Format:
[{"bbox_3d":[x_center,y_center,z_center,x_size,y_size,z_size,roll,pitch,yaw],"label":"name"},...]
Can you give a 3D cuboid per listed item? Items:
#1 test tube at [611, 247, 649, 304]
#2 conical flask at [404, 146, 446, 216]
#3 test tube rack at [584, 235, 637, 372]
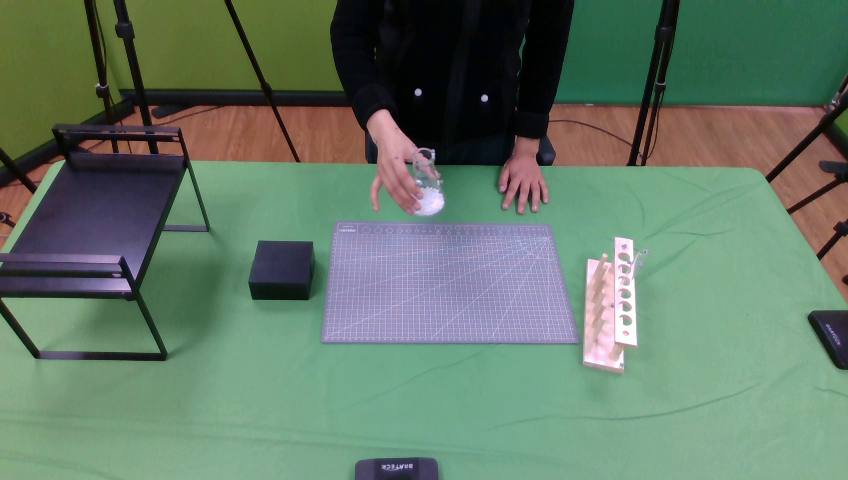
[{"bbox_3d":[0.352,0.065,1.043,0.017,0.151,0.017,3,49,-4],"label":"test tube"},{"bbox_3d":[0.001,-0.104,1.030,0.075,0.122,0.075,-1,53,1],"label":"conical flask"},{"bbox_3d":[0.329,0.103,1.073,0.067,0.085,0.241,10,47,7],"label":"test tube rack"}]
